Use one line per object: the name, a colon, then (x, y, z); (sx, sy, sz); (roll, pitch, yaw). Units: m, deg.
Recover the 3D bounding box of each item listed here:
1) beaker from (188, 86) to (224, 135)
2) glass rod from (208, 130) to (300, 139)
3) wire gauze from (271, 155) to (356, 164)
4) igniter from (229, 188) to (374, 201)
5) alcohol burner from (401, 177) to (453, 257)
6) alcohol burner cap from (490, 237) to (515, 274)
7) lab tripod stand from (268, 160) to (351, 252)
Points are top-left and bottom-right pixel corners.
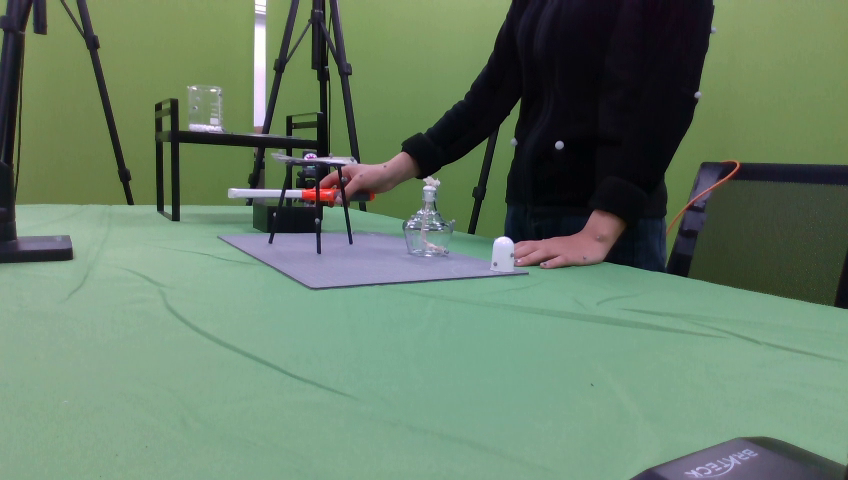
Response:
beaker: (-0.474, -0.280, 1.311); (0.074, 0.100, 0.084); (5, 8, 25)
glass rod: (-0.367, -0.231, 1.321); (0.201, 0.008, 0.008); (-1, 8, -30)
wire gauze: (-0.167, -0.122, 0.917); (0.125, 0.011, 0.121); (0, 7, -9)
igniter: (-0.229, -0.088, 1.163); (0.278, 0.025, 0.057); (-1, 7, -27)
alcohol burner: (0.006, -0.035, 0.903); (0.078, 0.119, 0.078); (4, 6, 0)
alcohol burner cap: (0.104, 0.020, 0.793); (0.034, 0.048, 0.034); (2, 6, 0)
lab tripod stand: (-0.172, -0.055, 0.922); (0.148, 0.131, 0.148); (1, 9, 0)
